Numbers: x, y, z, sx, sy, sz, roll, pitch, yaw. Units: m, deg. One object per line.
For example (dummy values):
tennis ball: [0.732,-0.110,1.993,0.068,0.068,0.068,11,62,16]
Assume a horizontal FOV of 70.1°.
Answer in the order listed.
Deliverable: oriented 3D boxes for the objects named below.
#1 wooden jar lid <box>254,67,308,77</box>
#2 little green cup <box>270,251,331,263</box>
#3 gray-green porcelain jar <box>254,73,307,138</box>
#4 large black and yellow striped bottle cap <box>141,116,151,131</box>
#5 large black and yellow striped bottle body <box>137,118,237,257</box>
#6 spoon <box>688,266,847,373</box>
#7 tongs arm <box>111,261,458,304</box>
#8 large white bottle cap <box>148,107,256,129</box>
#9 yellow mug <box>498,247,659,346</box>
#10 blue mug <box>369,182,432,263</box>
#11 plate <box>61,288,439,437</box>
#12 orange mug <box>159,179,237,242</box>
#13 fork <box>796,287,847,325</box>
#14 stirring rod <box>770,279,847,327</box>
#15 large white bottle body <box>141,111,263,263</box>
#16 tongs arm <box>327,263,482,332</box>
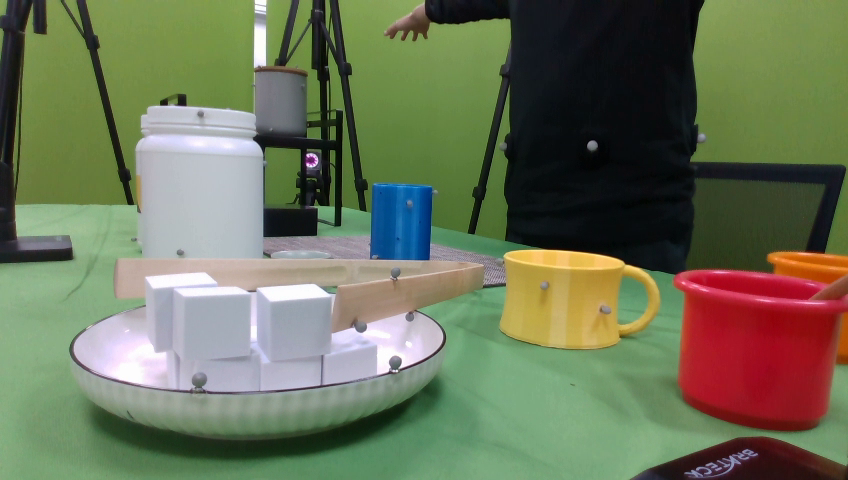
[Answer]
wooden jar lid: [-0.296,-0.339,1.251,0.108,0.020,0.108,2,7,0]
little green cup: [-0.129,0.034,0.629,0.061,0.038,0.061,2,6,0]
gray-green porcelain jar: [-0.298,-0.277,1.259,0.106,0.126,0.106,3,8,0]
large black and yellow striped bottle cap: [-0.328,-0.158,0.837,0.115,0.019,0.115,2,6,0]
large black and yellow striped bottle body: [-0.330,-0.075,0.849,0.131,0.184,0.130,2,8,0]
spoon: [0.216,0.032,0.328,0.042,0.021,0.193,2,-37,-23]
tongs arm: [-0.080,0.032,0.527,0.028,0.027,0.389,-3,-3,33]
large white bottle cap: [-0.250,-0.137,0.686,0.115,0.018,0.115,2,8,0]
yellow mug: [0.130,0.045,0.508,0.131,0.064,0.100,4,7,6]
blue mug: [-0.027,-0.026,0.835,0.082,0.106,0.117,5,7,19]
plate: [-0.095,0.069,0.362,0.208,0.039,0.207,3,7,0]
orange mug: [-0.368,-0.051,0.991,0.127,0.101,0.083,-10,14,-41]
fork: [0.324,0.018,0.441,0.028,0.018,0.207,-3,-36,-5]
stirring rod: [0.349,0.022,0.468,0.014,0.006,0.175,-11,-27,-50]
large white bottle body: [-0.254,-0.053,0.697,0.131,0.184,0.130,2,7,0]
tongs arm: [-0.003,0.036,0.493,0.050,0.026,0.386,1,0,19]
